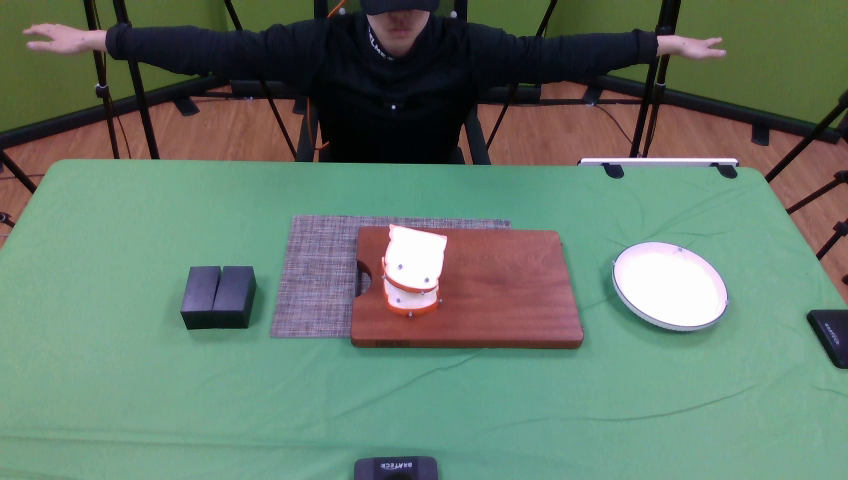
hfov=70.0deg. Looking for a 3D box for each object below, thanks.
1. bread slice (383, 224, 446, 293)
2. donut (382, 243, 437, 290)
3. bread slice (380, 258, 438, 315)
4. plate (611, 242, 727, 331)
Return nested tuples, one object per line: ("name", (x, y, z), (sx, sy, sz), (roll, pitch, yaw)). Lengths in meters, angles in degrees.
("bread slice", (-0.017, 0.034, 1.050), (0.107, 0.018, 0.133), (11, 48, -7))
("donut", (-0.026, 0.046, 1.077), (0.099, 0.048, 0.098), (4, 45, -3))
("bread slice", (-0.024, 0.079, 1.087), (0.105, 0.019, 0.130), (-2, 45, -5))
("plate", (0.455, 0.090, 1.138), (0.209, 0.038, 0.208), (3, 45, -2))
